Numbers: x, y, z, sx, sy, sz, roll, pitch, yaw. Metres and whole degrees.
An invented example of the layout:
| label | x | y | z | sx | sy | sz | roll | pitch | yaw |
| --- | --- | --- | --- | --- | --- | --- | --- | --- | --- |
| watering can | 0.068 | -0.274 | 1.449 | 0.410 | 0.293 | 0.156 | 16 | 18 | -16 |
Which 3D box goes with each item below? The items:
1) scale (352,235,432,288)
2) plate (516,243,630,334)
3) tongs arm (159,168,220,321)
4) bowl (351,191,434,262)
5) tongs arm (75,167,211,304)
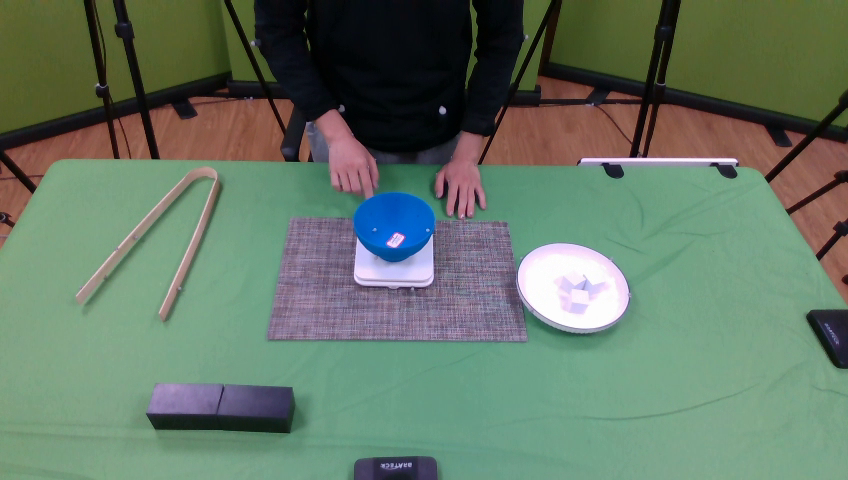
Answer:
| label | x | y | z | sx | sy | sz | roll | pitch | yaw |
| --- | --- | --- | --- | --- | --- | --- | --- | --- | --- |
| scale | -0.059 | 0.010 | 1.171 | 0.149 | 0.032 | 0.199 | 2 | 46 | -3 |
| plate | 0.272 | 0.092 | 1.120 | 0.208 | 0.039 | 0.206 | 2 | 46 | -2 |
| tongs arm | -0.446 | -0.006 | 1.164 | 0.028 | 0.028 | 0.385 | 1 | 46 | 0 |
| bowl | -0.057 | -0.013 | 1.119 | 0.151 | 0.077 | 0.150 | 1 | 46 | -1 |
| tongs arm | -0.526 | -0.021 | 1.167 | 0.051 | 0.026 | 0.383 | 13 | 46 | 7 |
